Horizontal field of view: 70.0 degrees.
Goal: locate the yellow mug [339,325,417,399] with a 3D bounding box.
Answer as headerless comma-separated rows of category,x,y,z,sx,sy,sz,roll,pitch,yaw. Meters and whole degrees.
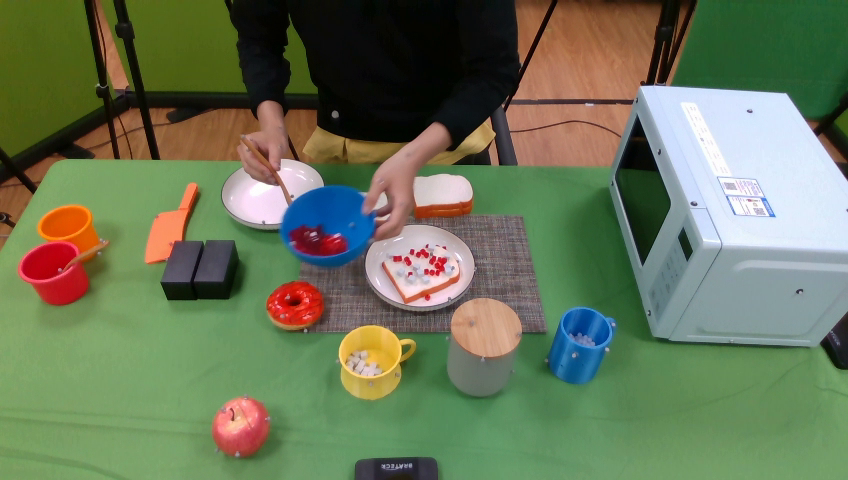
yellow mug,-0.071,0.191,0.978,0.131,0.064,0.099,-17,49,-20

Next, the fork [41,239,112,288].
fork,-0.591,0.040,1.028,0.207,0.019,0.028,-27,37,29

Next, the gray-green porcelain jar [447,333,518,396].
gray-green porcelain jar,0.091,0.178,0.960,0.106,0.127,0.105,2,46,-2

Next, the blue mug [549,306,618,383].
blue mug,0.269,0.167,0.997,0.116,0.106,0.082,-19,51,-21

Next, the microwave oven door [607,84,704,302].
microwave oven door,0.424,-0.096,1.138,0.039,0.245,0.353,3,46,-1

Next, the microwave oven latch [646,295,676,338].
microwave oven latch,0.413,0.133,1.061,0.030,0.029,0.078,4,46,1

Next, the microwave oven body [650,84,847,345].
microwave oven body,0.569,-0.054,1.116,0.326,0.261,0.439,2,46,-1

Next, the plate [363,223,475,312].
plate,-0.009,0.054,1.126,0.208,0.039,0.206,2,46,-2

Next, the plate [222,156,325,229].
plate,-0.308,-0.095,1.251,0.209,0.038,0.208,3,46,-3

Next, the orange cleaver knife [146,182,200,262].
orange cleaver knife,-0.494,-0.039,1.199,0.077,0.012,0.210,-3,48,1

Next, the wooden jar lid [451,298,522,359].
wooden jar lid,0.093,0.135,0.914,0.108,0.021,0.107,3,48,-3

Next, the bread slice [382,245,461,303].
bread slice,0.000,0.055,1.129,0.131,0.019,0.104,-21,51,-20

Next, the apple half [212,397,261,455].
apple half,-0.276,0.277,0.877,0.053,0.075,0.080,-29,58,-21

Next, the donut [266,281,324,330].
donut,-0.223,0.113,1.051,0.099,0.048,0.098,2,45,-2

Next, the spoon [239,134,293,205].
spoon,-0.250,-0.104,1.033,0.021,0.195,0.041,-37,30,-10

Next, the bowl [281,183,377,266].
bowl,-0.146,-0.011,0.980,0.151,0.077,0.150,-2,53,2

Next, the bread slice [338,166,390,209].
bread slice,-0.140,-0.091,1.224,0.134,0.018,0.106,-19,51,6

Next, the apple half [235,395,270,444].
apple half,-0.245,0.259,0.893,0.033,0.082,0.081,-29,55,-21
